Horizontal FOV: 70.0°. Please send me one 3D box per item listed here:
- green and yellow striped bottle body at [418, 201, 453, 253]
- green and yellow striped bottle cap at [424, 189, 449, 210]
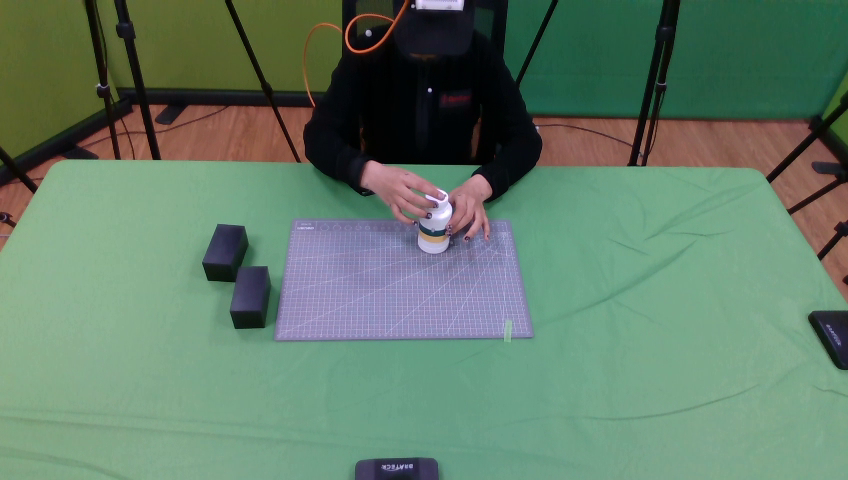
[{"bbox_3d":[0.022,-0.036,1.160,0.063,0.120,0.063,2,46,-2],"label":"green and yellow striped bottle body"},{"bbox_3d":[0.023,-0.075,1.118,0.045,0.020,0.045,5,38,-3],"label":"green and yellow striped bottle cap"}]
